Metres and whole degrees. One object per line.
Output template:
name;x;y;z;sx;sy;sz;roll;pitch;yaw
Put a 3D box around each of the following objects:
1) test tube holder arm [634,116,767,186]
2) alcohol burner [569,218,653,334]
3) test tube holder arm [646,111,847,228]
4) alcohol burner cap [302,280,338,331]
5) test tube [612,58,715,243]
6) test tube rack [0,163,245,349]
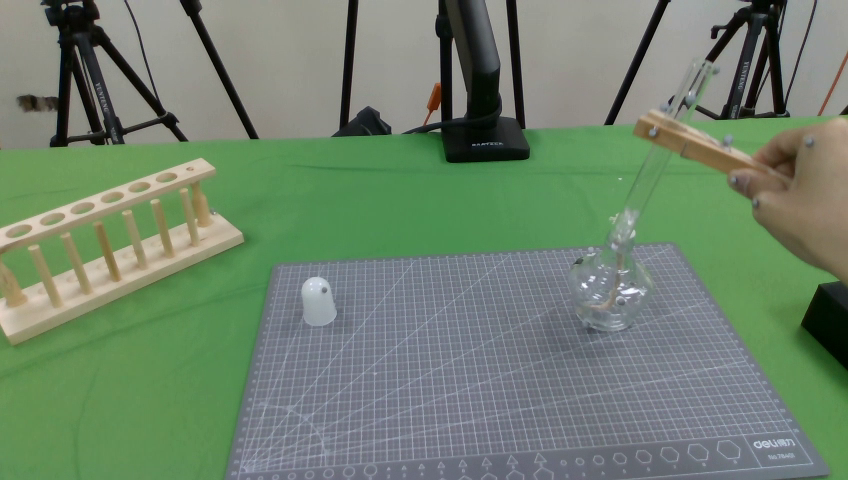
test tube holder arm;0.184;-0.060;0.405;0.087;0.015;0.010;30;46;24
alcohol burner;0.175;0.028;0.559;0.078;0.120;0.077;0;38;0
test tube holder arm;0.220;-0.041;0.388;0.177;0.015;0.013;36;50;29
alcohol burner cap;-0.102;0.060;0.583;0.034;0.048;0.033;0;36;1
test tube;0.166;-0.057;0.432;0.017;0.151;0.017;7;39;-6
test tube rack;-0.318;0.007;0.629;0.242;0.086;0.066;-29;44;-33
